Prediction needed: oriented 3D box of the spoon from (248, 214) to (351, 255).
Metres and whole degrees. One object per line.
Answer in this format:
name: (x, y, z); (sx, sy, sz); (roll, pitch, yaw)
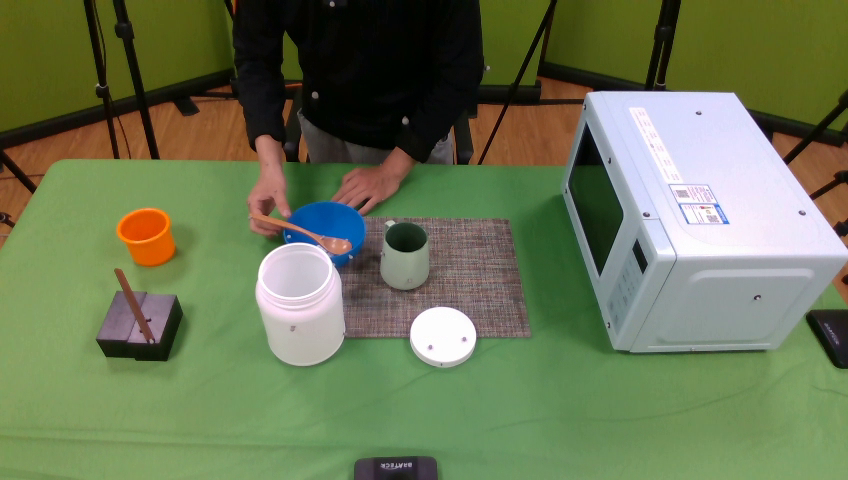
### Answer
spoon: (-0.228, -0.014, 1.113); (0.194, 0.022, 0.041); (23, 39, -15)

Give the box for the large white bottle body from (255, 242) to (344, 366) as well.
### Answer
large white bottle body: (-0.196, 0.102, 0.967); (0.131, 0.185, 0.130); (2, 49, -2)

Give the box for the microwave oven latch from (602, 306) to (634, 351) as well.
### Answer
microwave oven latch: (0.332, 0.153, 1.044); (0.030, 0.029, 0.078); (0, 45, -4)

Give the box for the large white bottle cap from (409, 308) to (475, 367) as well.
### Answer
large white bottle cap: (0.031, 0.166, 1.041); (0.115, 0.018, 0.114); (2, 47, -2)

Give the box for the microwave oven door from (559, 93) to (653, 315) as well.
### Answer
microwave oven door: (0.327, -0.074, 1.123); (0.039, 0.245, 0.353); (-1, 46, -5)

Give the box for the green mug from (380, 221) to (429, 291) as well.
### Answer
green mug: (-0.043, 0.020, 1.116); (0.092, 0.105, 0.124); (-20, 50, -21)

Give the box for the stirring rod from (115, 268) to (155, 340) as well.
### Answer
stirring rod: (-0.479, 0.103, 0.999); (0.014, 0.006, 0.175); (7, 32, -49)

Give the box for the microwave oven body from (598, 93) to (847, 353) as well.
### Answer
microwave oven body: (0.475, -0.041, 1.109); (0.326, 0.261, 0.438); (-1, 45, -4)

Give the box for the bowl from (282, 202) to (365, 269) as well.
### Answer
bowl: (-0.186, 0.006, 1.136); (0.151, 0.077, 0.150); (3, 45, -3)
